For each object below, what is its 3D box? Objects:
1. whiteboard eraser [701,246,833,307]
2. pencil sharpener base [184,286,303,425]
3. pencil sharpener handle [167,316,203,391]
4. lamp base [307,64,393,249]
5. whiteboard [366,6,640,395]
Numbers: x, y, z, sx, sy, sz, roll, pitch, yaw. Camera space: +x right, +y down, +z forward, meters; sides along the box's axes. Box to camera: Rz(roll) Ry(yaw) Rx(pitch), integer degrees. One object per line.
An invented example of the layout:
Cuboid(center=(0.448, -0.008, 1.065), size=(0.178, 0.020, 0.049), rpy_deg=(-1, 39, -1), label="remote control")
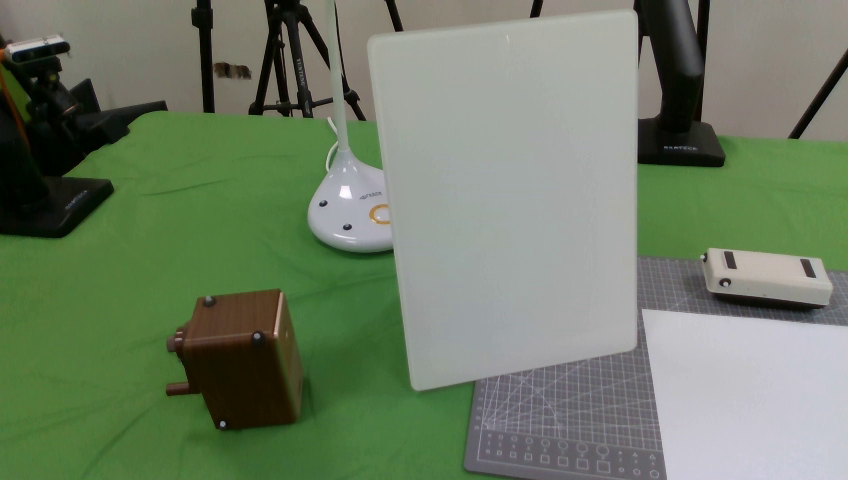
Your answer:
Cuboid(center=(0.345, 0.038, 0.616), size=(0.112, 0.042, 0.055), rpy_deg=(7, 39, 12), label="whiteboard eraser")
Cuboid(center=(-0.149, 0.099, 0.509), size=(0.077, 0.108, 0.060), rpy_deg=(-6, 37, -3), label="pencil sharpener base")
Cuboid(center=(-0.200, 0.095, 0.495), size=(0.031, 0.068, 0.035), rpy_deg=(-6, 25, -3), label="pencil sharpener handle")
Cuboid(center=(-0.077, -0.107, 0.720), size=(0.161, 0.182, 0.177), rpy_deg=(-26, 40, -29), label="lamp base")
Cuboid(center=(0.069, -0.042, 0.570), size=(0.217, 0.307, 0.143), rpy_deg=(-9, 18, -7), label="whiteboard")
